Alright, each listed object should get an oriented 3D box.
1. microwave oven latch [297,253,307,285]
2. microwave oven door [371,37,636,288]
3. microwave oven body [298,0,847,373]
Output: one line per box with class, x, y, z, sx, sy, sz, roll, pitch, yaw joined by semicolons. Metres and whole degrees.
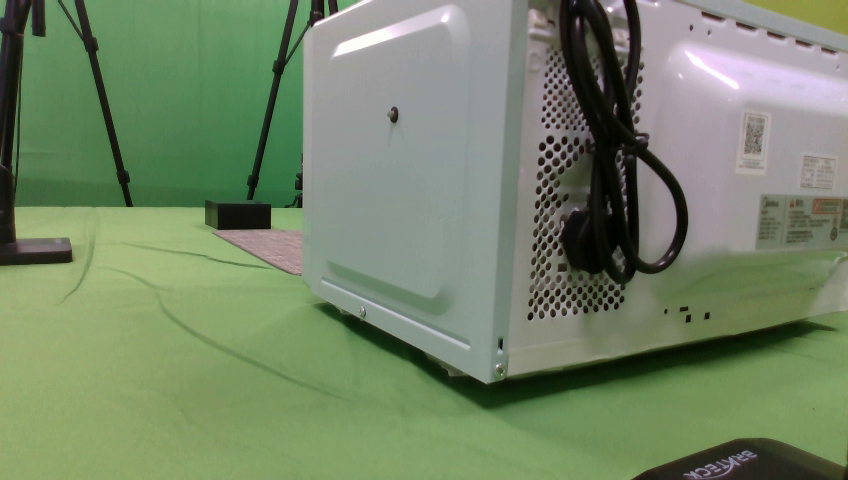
microwave oven latch;-0.082;0.027;0.582;0.079;0.029;0.030;-1;7;-32
microwave oven door;0.109;-0.080;0.686;0.358;0.243;0.039;-2;9;-33
microwave oven body;0.151;-0.055;0.543;0.444;0.260;0.324;-1;7;-33
